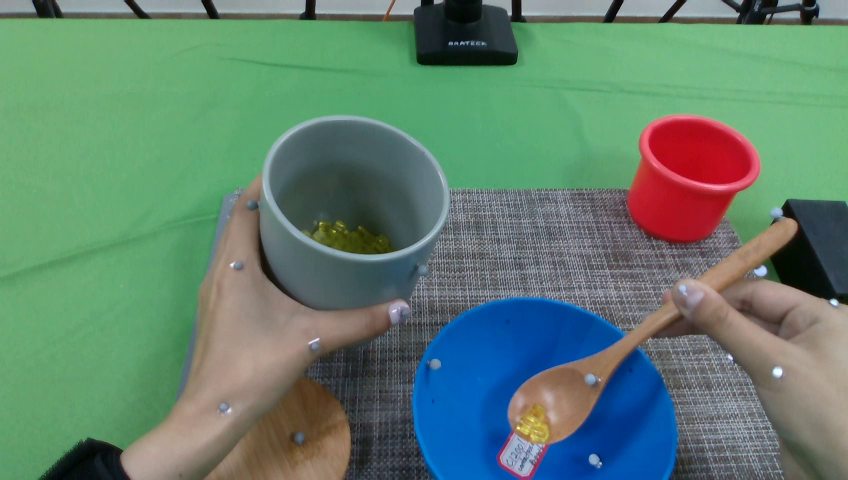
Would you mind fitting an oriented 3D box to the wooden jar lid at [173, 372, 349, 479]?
[{"bbox_3d":[-0.101,0.136,0.385,0.108,0.021,0.107,1,48,-1],"label":"wooden jar lid"}]

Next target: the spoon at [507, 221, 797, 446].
[{"bbox_3d":[0.125,0.054,0.343,0.194,0.022,0.041,-43,50,17],"label":"spoon"}]

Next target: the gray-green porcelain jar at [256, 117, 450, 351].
[{"bbox_3d":[-0.051,0.004,0.385,0.106,0.127,0.105,9,54,-12],"label":"gray-green porcelain jar"}]

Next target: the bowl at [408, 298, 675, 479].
[{"bbox_3d":[0.065,0.118,0.371,0.151,0.077,0.150,2,49,-2],"label":"bowl"}]
